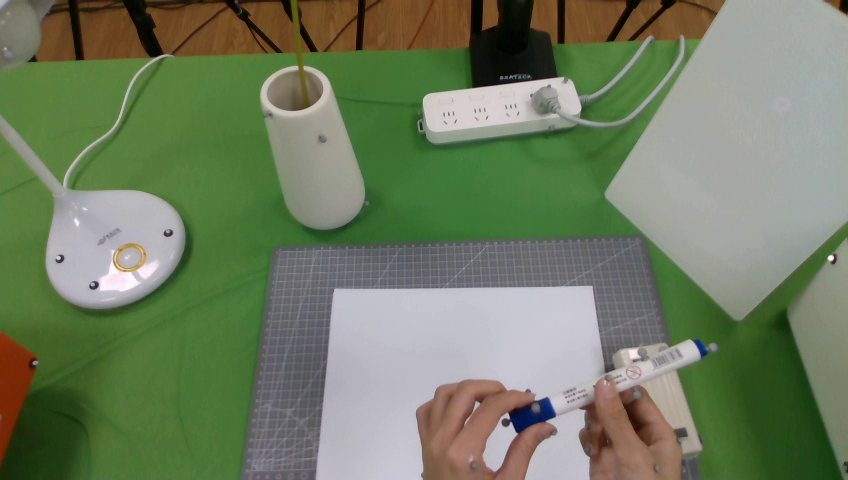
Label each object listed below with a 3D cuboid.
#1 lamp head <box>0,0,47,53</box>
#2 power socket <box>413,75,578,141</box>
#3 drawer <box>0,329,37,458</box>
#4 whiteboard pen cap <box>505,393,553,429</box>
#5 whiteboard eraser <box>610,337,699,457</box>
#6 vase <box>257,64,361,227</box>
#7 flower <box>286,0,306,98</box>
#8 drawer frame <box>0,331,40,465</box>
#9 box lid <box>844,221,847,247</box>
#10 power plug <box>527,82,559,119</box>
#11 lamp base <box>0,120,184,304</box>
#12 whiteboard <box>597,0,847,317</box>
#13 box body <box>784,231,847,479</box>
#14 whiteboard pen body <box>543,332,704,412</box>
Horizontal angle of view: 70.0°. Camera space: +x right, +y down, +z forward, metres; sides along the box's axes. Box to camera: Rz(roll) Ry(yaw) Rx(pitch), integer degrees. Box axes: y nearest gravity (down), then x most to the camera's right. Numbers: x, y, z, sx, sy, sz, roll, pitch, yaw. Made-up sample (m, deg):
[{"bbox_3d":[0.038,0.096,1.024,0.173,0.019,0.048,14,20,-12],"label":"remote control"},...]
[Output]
[{"bbox_3d":[-0.340,-0.187,0.411,0.124,0.112,0.112,39,61,-20],"label":"lamp head"},{"bbox_3d":[0.099,-0.179,0.820,0.227,0.033,0.071,-7,60,-3],"label":"power socket"},{"bbox_3d":[-0.495,0.179,0.540,0.212,0.074,0.193,1,60,1],"label":"drawer"},{"bbox_3d":[0.076,0.122,0.436,0.033,0.018,0.018,-22,60,0],"label":"whiteboard pen cap"},{"bbox_3d":[0.230,0.157,0.611,0.055,0.042,0.111,-6,59,-4],"label":"whiteboard eraser"},{"bbox_3d":[-0.129,-0.100,0.681,0.098,0.202,0.097,-1,59,2],"label":"vase"},{"bbox_3d":[-0.125,-0.158,0.620,0.038,0.365,0.043,-12,42,-14],"label":"flower"},{"bbox_3d":[-0.500,0.182,0.542,0.214,0.083,0.200,1,60,-1],"label":"drawer frame"},{"bbox_3d":[0.517,0.123,0.471,0.263,0.015,0.368,-3,60,-1],"label":"box lid"},{"bbox_3d":[0.153,-0.173,0.788,0.035,0.053,0.072,2,61,3],"label":"power plug"},{"bbox_3d":[-0.382,-0.041,0.662,0.178,0.182,0.160,27,63,19],"label":"lamp base"},{"bbox_3d":[0.372,-0.105,0.648,0.144,0.307,0.215,-21,59,-32],"label":"whiteboard"},{"bbox_3d":[0.519,0.163,0.534,0.254,0.162,0.360,-3,59,-1],"label":"box body"},{"bbox_3d":[0.131,0.098,0.432,0.141,0.017,0.017,-23,60,3],"label":"whiteboard pen body"}]
